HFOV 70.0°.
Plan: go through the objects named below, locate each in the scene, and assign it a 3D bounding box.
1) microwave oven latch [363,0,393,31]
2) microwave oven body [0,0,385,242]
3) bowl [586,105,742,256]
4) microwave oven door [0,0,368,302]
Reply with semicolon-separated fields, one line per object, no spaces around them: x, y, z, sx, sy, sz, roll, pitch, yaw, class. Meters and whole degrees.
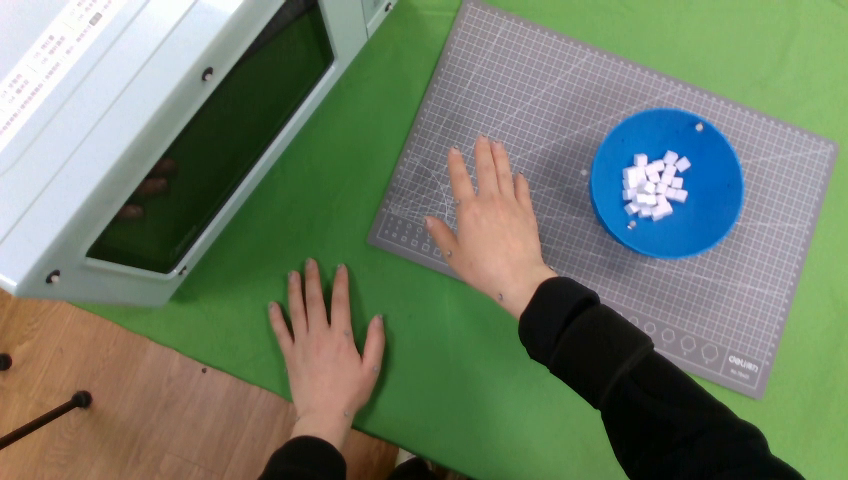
-0.045;-0.264;0.644;0.030;0.029;0.079;37;84;2;microwave oven latch
-0.267;-0.221;0.534;0.326;0.260;0.441;36;84;2;microwave oven body
0.234;-0.054;0.624;0.151;0.077;0.151;0;83;-2;bowl
-0.174;-0.103;0.519;0.039;0.244;0.355;36;83;3;microwave oven door
